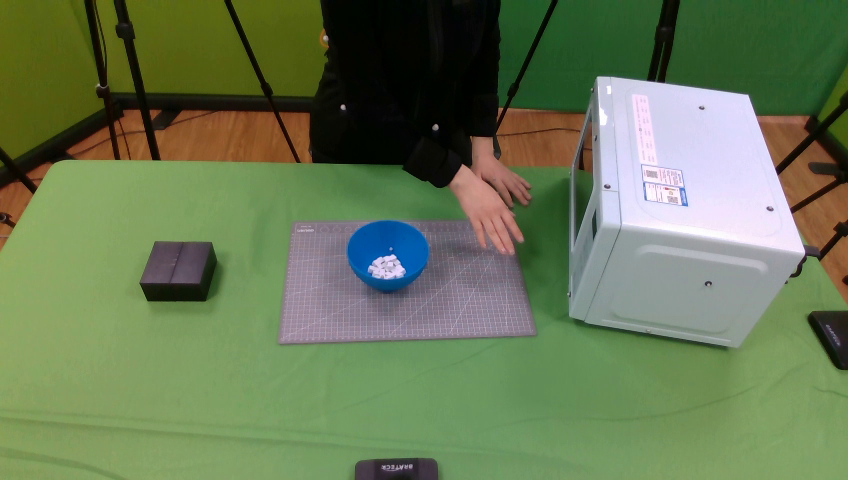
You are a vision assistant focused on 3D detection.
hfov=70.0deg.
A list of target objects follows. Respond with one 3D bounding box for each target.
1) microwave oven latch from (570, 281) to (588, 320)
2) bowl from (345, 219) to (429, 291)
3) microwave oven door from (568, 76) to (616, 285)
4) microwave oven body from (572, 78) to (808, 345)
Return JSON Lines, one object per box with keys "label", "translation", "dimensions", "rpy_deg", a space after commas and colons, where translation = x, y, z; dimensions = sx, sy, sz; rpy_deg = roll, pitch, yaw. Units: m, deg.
{"label": "microwave oven latch", "translation": [0.275, 0.105, 1.082], "dimensions": [0.030, 0.029, 0.079], "rpy_deg": [10, 45, 6]}
{"label": "bowl", "translation": [-0.068, 0.041, 1.111], "dimensions": [0.151, 0.077, 0.150], "rpy_deg": [2, 46, -2]}
{"label": "microwave oven door", "translation": [0.319, -0.119, 1.161], "dimensions": [0.039, 0.245, 0.354], "rpy_deg": [9, 46, 5]}
{"label": "microwave oven body", "translation": [0.456, -0.063, 1.125], "dimensions": [0.326, 0.261, 0.439], "rpy_deg": [8, 45, 5]}
